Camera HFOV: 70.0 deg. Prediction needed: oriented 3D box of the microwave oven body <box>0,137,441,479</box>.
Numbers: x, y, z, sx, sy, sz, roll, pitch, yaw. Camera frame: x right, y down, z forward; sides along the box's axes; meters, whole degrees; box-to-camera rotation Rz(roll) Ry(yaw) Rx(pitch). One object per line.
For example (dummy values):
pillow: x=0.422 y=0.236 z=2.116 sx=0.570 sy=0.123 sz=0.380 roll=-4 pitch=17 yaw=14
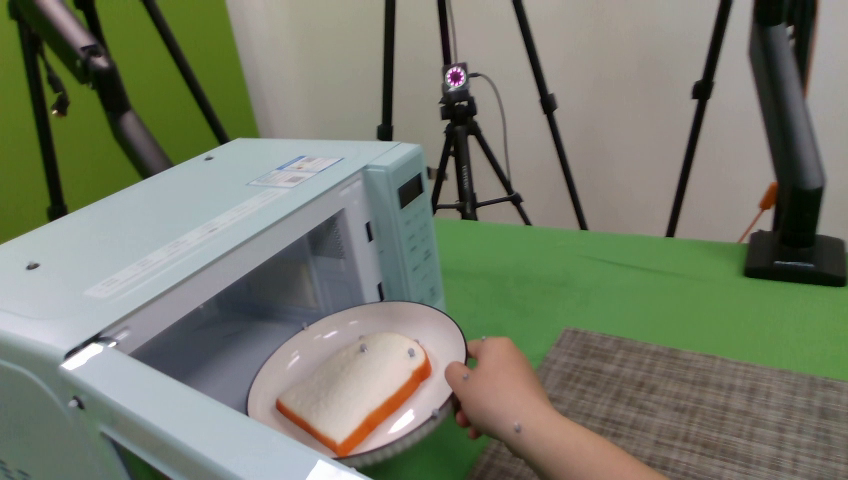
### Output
microwave oven body: x=-0.229 y=0.079 z=0.676 sx=0.324 sy=0.262 sz=0.440 roll=7 pitch=30 yaw=29

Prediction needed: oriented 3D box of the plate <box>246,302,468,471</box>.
plate: x=-0.059 y=0.133 z=0.564 sx=0.209 sy=0.038 sz=0.207 roll=-11 pitch=28 yaw=7

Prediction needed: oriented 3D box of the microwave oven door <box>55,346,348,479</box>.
microwave oven door: x=-0.071 y=0.204 z=0.345 sx=0.353 sy=0.245 sz=0.039 roll=10 pitch=32 yaw=35

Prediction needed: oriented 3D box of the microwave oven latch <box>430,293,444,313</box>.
microwave oven latch: x=-0.002 y=0.099 z=0.782 sx=0.030 sy=0.030 sz=0.079 roll=7 pitch=31 yaw=30

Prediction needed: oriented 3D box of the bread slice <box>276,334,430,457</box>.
bread slice: x=-0.062 y=0.134 z=0.567 sx=0.104 sy=0.019 sz=0.131 roll=16 pitch=41 yaw=43
